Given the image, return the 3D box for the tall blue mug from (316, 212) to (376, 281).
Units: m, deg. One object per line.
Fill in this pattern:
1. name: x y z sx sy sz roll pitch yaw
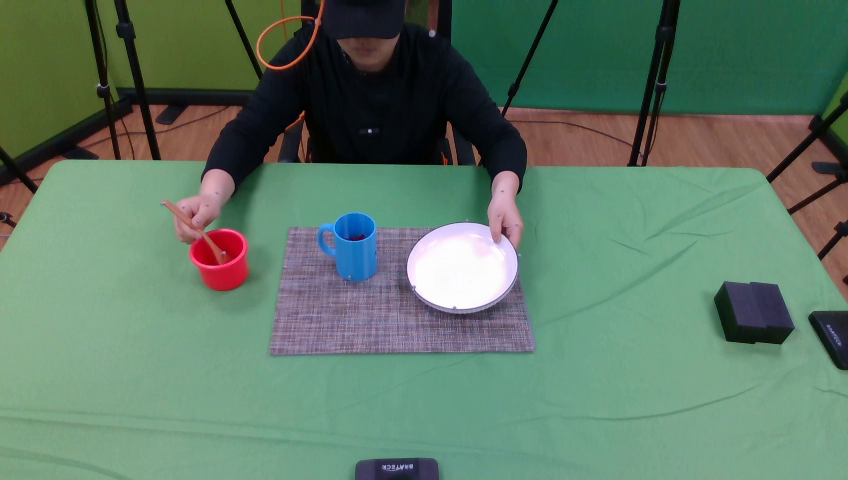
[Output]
1. tall blue mug: -0.141 0.014 1.109 0.107 0.108 0.077 -5 47 -8

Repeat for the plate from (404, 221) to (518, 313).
1. plate: 0.069 0.053 1.120 0.207 0.039 0.206 -4 49 5

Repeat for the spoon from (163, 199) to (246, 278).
1. spoon: -0.386 -0.002 1.072 0.021 0.195 0.041 -22 30 25
